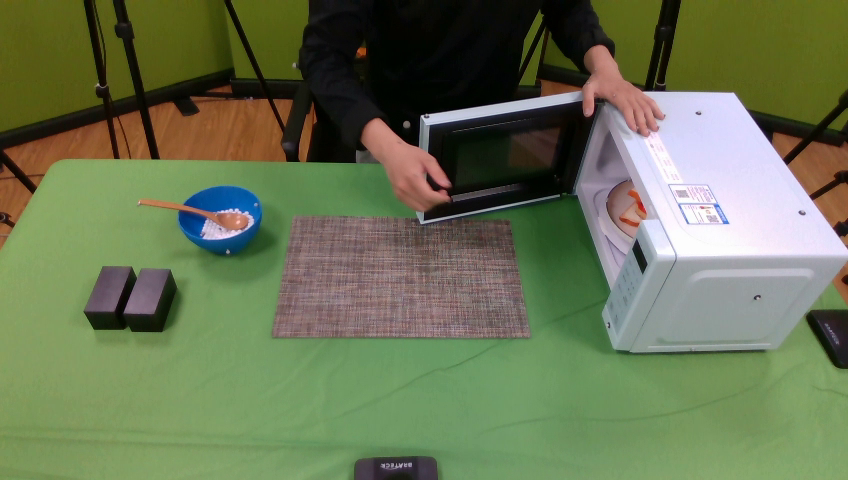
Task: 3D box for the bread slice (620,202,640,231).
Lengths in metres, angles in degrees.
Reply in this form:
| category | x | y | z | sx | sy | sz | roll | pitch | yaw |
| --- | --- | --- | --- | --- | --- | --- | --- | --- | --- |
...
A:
| category | x | y | z | sx | sy | sz | roll | pitch | yaw |
| --- | --- | --- | --- | --- | --- | --- | --- | --- | --- |
| bread slice | 0.454 | -0.038 | 1.178 | 0.134 | 0.018 | 0.107 | 19 | 55 | 30 |

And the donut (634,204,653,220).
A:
| category | x | y | z | sx | sy | sz | roll | pitch | yaw |
| --- | --- | --- | --- | --- | --- | --- | --- | --- | --- |
| donut | 0.453 | -0.062 | 1.159 | 0.099 | 0.048 | 0.098 | -1 | 46 | 1 |

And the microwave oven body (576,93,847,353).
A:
| category | x | y | z | sx | sy | sz | roll | pitch | yaw |
| --- | --- | --- | --- | --- | --- | --- | --- | --- | --- |
| microwave oven body | 0.475 | -0.041 | 1.109 | 0.326 | 0.261 | 0.438 | -1 | 45 | -4 |

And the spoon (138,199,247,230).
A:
| category | x | y | z | sx | sy | sz | roll | pitch | yaw |
| --- | --- | --- | --- | --- | --- | --- | --- | --- | --- |
| spoon | -0.431 | -0.053 | 1.135 | 0.194 | 0.022 | 0.041 | 15 | 47 | -20 |

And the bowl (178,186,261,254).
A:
| category | x | y | z | sx | sy | sz | roll | pitch | yaw |
| --- | --- | --- | --- | --- | --- | --- | --- | --- | --- |
| bowl | -0.383 | -0.026 | 1.158 | 0.151 | 0.077 | 0.150 | 2 | 46 | -2 |

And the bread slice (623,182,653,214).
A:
| category | x | y | z | sx | sy | sz | roll | pitch | yaw |
| --- | --- | --- | --- | --- | --- | --- | --- | --- | --- |
| bread slice | 0.458 | -0.078 | 1.138 | 0.131 | 0.019 | 0.105 | 34 | 51 | 29 |

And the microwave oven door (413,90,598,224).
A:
| category | x | y | z | sx | sy | sz | roll | pitch | yaw |
| --- | --- | --- | --- | --- | --- | --- | --- | --- | --- |
| microwave oven door | 0.157 | -0.162 | 1.196 | 0.356 | 0.245 | 0.039 | -12 | 48 | -15 |

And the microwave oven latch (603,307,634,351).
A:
| category | x | y | z | sx | sy | sz | roll | pitch | yaw |
| --- | --- | --- | --- | --- | --- | --- | --- | --- | --- |
| microwave oven latch | 0.332 | 0.153 | 1.044 | 0.030 | 0.029 | 0.078 | 0 | 45 | -3 |

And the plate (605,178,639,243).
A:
| category | x | y | z | sx | sy | sz | roll | pitch | yaw |
| --- | --- | --- | --- | --- | --- | --- | --- | --- | --- |
| plate | 0.455 | -0.042 | 1.182 | 0.208 | 0.039 | 0.206 | 2 | 46 | -2 |
